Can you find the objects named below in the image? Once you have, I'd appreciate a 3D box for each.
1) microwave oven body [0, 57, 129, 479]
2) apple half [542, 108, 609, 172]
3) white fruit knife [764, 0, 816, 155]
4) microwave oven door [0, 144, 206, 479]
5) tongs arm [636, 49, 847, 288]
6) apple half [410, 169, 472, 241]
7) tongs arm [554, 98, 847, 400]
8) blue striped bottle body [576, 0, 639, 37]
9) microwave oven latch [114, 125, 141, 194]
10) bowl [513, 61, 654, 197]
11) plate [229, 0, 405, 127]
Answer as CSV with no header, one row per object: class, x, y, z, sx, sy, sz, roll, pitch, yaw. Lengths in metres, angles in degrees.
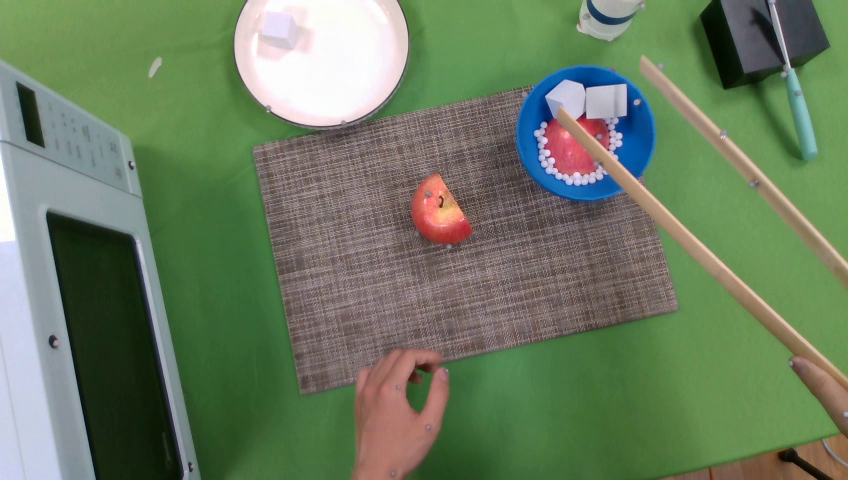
microwave oven body,-0.453,0.105,0.579,0.326,0.260,0.440,-14,85,-2
apple half,0.175,-0.117,0.686,0.081,0.033,0.081,0,83,3
white fruit knife,0.416,-0.194,0.696,0.016,0.027,0.208,-19,101,15
microwave oven door,-0.300,0.109,0.573,0.039,0.244,0.354,-15,84,-1
tongs arm,0.288,-0.027,0.521,0.051,0.027,0.381,-30,65,-6
apple half,0.012,-0.032,0.685,0.053,0.075,0.080,-33,88,2
tongs arm,0.241,0.002,0.517,0.028,0.028,0.384,-34,65,-11
blue striped bottle body,0.217,-0.287,0.689,0.063,0.121,0.063,0,83,1
microwave oven latch,-0.351,-0.090,0.696,0.030,0.029,0.079,-14,85,-2
bowl,0.173,-0.116,0.690,0.151,0.077,0.151,0,84,1
plate,-0.126,-0.233,0.729,0.208,0.039,0.207,0,84,0
